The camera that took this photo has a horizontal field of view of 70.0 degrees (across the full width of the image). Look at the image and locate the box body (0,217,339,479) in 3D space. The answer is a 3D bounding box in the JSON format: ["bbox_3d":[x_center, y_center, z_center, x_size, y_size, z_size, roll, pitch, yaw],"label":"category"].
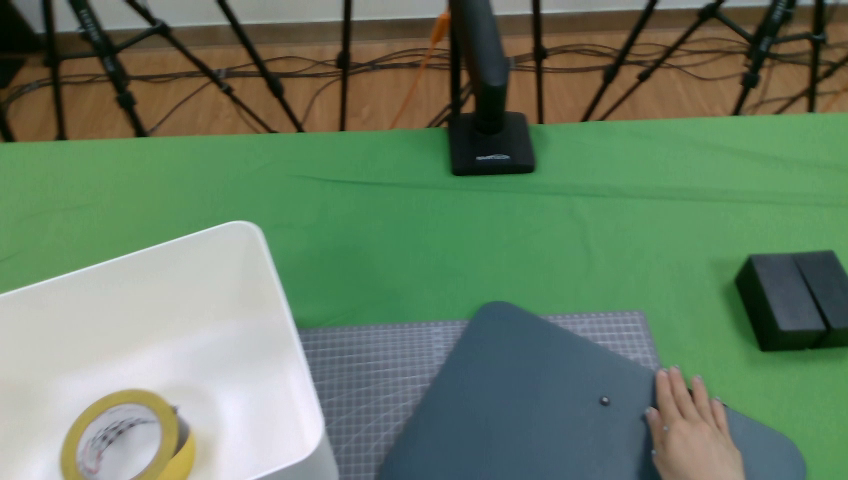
[{"bbox_3d":[-0.282,0.166,0.559,0.364,0.162,0.251,-19,56,-12],"label":"box body"}]

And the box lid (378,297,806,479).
[{"bbox_3d":[0.169,0.226,0.605,0.369,0.015,0.262,25,58,18],"label":"box lid"}]

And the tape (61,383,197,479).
[{"bbox_3d":[-0.287,0.202,0.593,0.117,0.053,0.115,0,53,0],"label":"tape"}]
